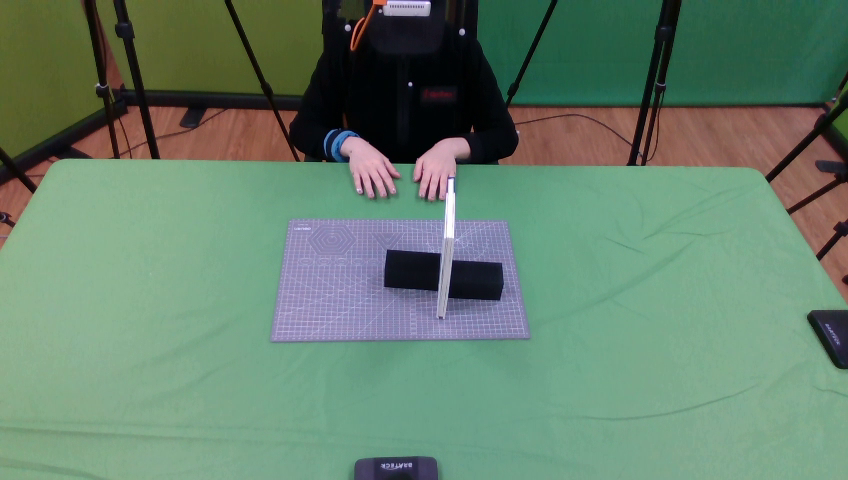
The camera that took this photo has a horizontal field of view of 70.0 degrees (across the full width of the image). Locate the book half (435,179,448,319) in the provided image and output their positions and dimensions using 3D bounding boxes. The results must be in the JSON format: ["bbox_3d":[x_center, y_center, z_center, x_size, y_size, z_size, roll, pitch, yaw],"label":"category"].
[{"bbox_3d":[0.031,0.019,1.045,0.007,0.211,0.142,4,46,1],"label":"book half"}]

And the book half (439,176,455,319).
[{"bbox_3d":[0.038,0.017,1.047,0.016,0.211,0.147,3,46,0],"label":"book half"}]
